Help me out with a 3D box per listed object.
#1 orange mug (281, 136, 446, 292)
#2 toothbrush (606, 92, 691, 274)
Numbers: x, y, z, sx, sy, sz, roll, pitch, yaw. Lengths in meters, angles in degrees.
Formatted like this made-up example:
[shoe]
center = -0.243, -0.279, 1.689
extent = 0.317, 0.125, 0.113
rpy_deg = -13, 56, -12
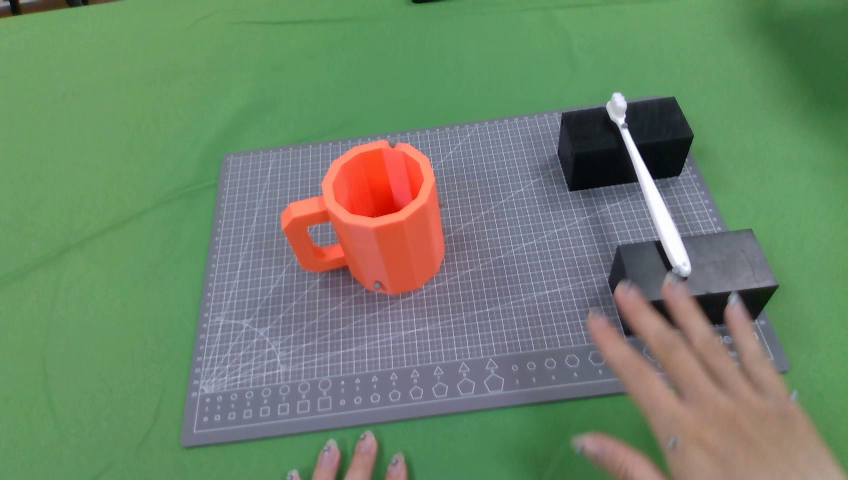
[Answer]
[orange mug]
center = -0.046, -0.016, 0.489
extent = 0.126, 0.102, 0.082
rpy_deg = -12, 54, -7
[toothbrush]
center = 0.175, -0.052, 0.477
extent = 0.014, 0.017, 0.180
rpy_deg = 0, 55, -11
